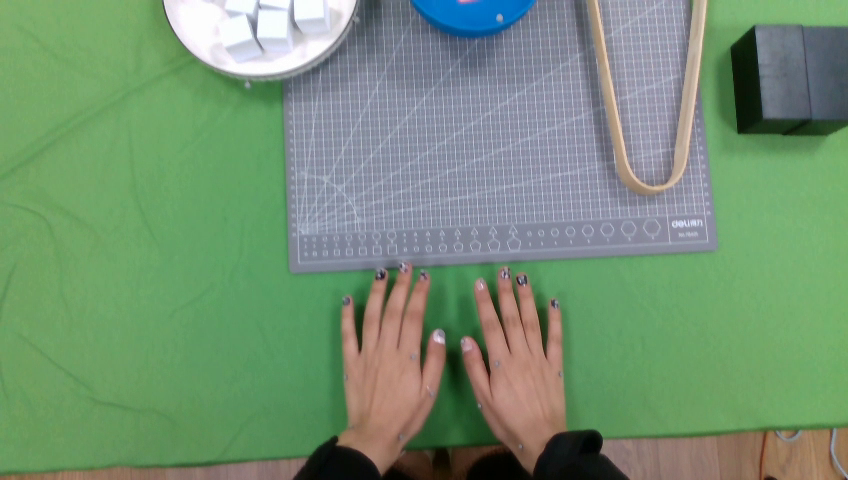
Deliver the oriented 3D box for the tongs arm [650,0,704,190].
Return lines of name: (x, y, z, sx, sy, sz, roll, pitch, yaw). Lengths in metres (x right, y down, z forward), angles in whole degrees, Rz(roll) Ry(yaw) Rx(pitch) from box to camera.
tongs arm: (0.284, -0.241, 0.657, 0.028, 0.028, 0.386, 10, 83, -6)

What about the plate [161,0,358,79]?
plate: (-0.170, -0.267, 0.646, 0.208, 0.039, 0.207, 0, 83, 0)

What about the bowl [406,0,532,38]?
bowl: (0.044, -0.271, 0.629, 0.151, 0.077, 0.151, 0, 83, -1)

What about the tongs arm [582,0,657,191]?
tongs arm: (0.197, -0.241, 0.653, 0.051, 0.026, 0.383, -5, 83, -5)
